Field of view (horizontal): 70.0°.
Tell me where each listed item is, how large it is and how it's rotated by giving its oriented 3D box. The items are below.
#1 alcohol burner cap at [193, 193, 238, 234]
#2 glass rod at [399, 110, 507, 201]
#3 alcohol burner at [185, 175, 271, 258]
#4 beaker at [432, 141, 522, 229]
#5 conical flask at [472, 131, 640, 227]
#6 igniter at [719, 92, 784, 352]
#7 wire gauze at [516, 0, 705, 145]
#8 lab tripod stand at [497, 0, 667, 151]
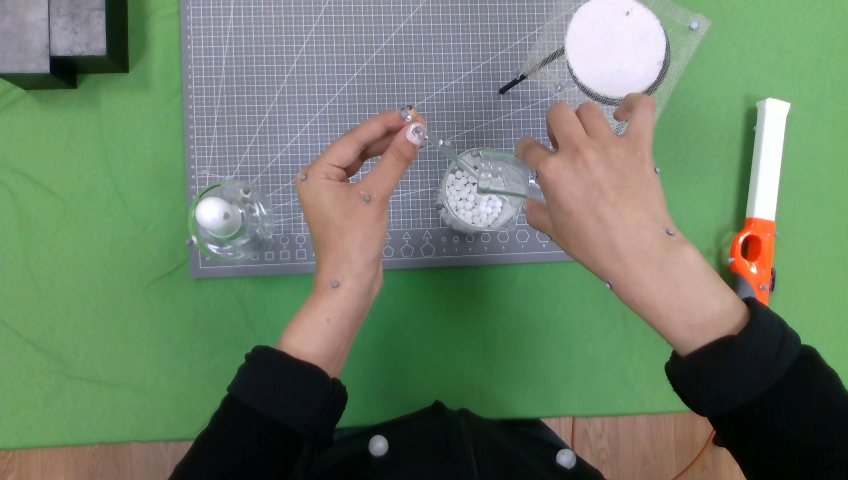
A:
[{"bbox_3d":[-0.178,-0.025,0.514,0.034,0.048,0.033,1,82,-7],"label":"alcohol burner cap"},{"bbox_3d":[0.031,-0.062,0.495,0.008,0.201,0.008,-8,73,27],"label":"glass rod"},{"bbox_3d":[-0.181,-0.022,0.550,0.078,0.119,0.078,0,90,-3],"label":"alcohol burner"},{"bbox_3d":[0.047,-0.046,0.578,0.074,0.100,0.084,-38,92,-4],"label":"beaker"},{"bbox_3d":[0.100,-0.053,0.476,0.122,0.075,0.075,6,88,1],"label":"conical flask"},{"bbox_3d":[0.348,-0.018,0.642,0.057,0.025,0.276,8,89,-15],"label":"igniter"},{"bbox_3d":[0.155,-0.163,0.505,0.125,0.011,0.121,30,88,-3],"label":"wire gauze"},{"bbox_3d":[0.152,-0.159,0.572,0.148,0.131,0.148,0,90,-3],"label":"lab tripod stand"}]
